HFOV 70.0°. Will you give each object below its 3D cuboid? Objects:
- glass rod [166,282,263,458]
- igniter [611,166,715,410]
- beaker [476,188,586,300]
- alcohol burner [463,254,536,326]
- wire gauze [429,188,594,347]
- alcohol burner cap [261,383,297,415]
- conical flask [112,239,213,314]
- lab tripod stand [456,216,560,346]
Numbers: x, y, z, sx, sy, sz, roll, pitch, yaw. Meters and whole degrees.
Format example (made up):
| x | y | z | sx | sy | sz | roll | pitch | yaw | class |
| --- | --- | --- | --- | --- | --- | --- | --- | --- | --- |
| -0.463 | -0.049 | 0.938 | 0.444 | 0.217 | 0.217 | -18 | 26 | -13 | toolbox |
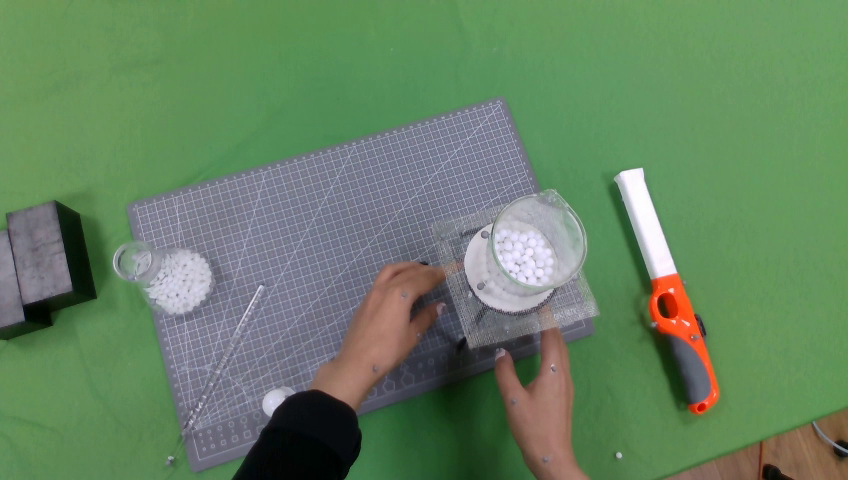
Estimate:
| x | y | z | sx | sy | sz | roll | pitch | yaw | class |
| --- | --- | --- | --- | --- | --- | --- | --- | --- | --- |
| -0.219 | 0.133 | 0.638 | 0.008 | 0.008 | 0.199 | 25 | 77 | 3 | glass rod |
| 0.266 | 0.049 | 0.677 | 0.057 | 0.025 | 0.275 | -11 | 78 | -16 | igniter |
| 0.083 | 0.008 | 0.502 | 0.074 | 0.100 | 0.083 | 18 | 78 | 1 | beaker |
| 0.079 | 0.048 | 0.620 | 0.078 | 0.119 | 0.077 | 0 | 78 | -1 | alcohol burner |
| 0.079 | 0.023 | 0.548 | 0.125 | 0.011 | 0.121 | -15 | 81 | -8 | wire gauze |
| -0.150 | 0.163 | 0.618 | 0.034 | 0.048 | 0.033 | 1 | 77 | -3 | alcohol burner cap |
| -0.264 | 0.030 | 0.600 | 0.075 | 0.122 | 0.075 | 1 | 76 | -2 | conical flask |
| 0.076 | 0.040 | 0.611 | 0.148 | 0.132 | 0.147 | 1 | 79 | -3 | lab tripod stand |
